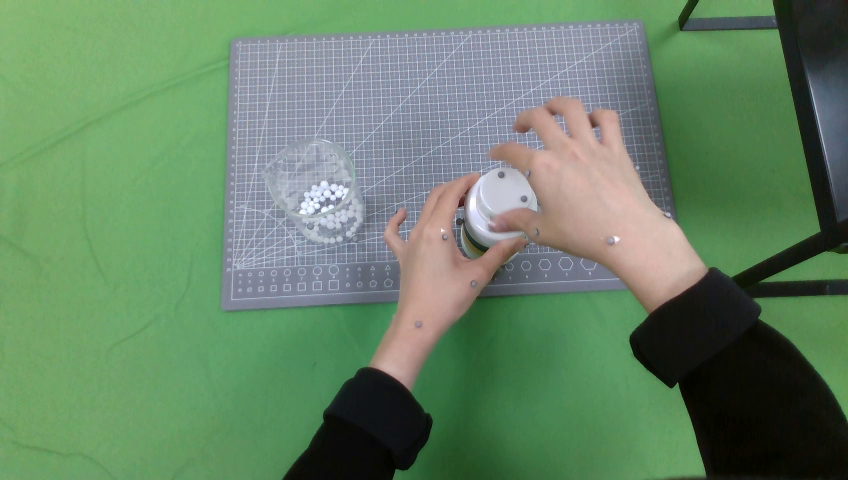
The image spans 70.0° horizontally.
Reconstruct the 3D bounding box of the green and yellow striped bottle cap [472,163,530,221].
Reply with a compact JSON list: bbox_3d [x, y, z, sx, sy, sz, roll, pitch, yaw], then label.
[{"bbox_3d":[0.063,-0.039,0.488,0.045,0.020,0.045,4,69,-10],"label":"green and yellow striped bottle cap"}]

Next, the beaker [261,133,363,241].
[{"bbox_3d":[-0.098,-0.044,0.560,0.084,0.101,0.073,8,74,3],"label":"beaker"}]

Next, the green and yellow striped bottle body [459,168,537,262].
[{"bbox_3d":[0.065,-0.025,0.543,0.063,0.120,0.063,0,74,1],"label":"green and yellow striped bottle body"}]
